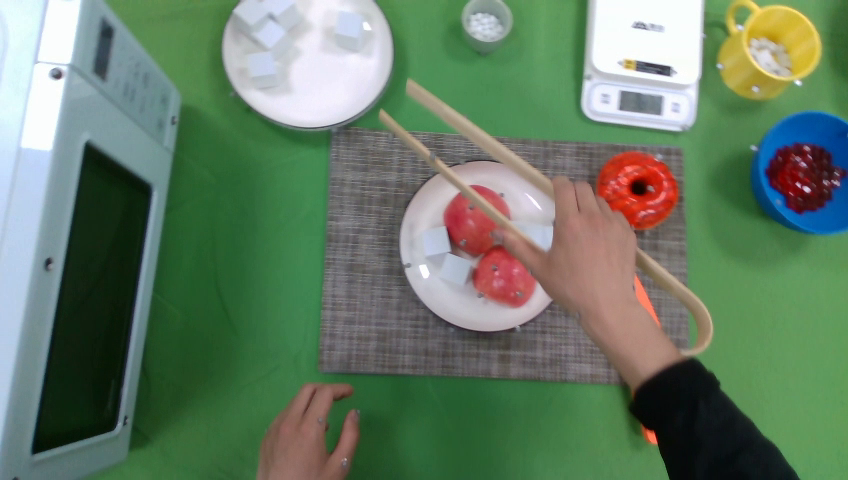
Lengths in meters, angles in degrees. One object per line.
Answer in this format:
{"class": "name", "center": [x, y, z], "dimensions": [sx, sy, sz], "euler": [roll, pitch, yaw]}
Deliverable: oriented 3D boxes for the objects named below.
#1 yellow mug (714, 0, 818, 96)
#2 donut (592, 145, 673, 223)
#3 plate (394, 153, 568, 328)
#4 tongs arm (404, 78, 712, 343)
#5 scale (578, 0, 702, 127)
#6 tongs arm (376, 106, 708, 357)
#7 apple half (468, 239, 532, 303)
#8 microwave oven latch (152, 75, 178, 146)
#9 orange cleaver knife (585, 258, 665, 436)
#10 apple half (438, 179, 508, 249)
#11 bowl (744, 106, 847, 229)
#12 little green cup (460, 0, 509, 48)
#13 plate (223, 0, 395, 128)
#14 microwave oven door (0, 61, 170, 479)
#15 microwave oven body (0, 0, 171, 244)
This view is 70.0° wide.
{"class": "yellow mug", "center": [0.431, -0.259, 0.783], "dimensions": [0.100, 0.064, 0.130], "euler": [-30, 83, -7]}
{"class": "donut", "center": [0.256, -0.069, 0.750], "dimensions": [0.099, 0.048, 0.098], "euler": [0, 81, -2]}
{"class": "plate", "center": [0.067, 0.002, 0.730], "dimensions": [0.209, 0.038, 0.208], "euler": [1, 81, -4]}
{"class": "tongs arm", "center": [0.126, -0.035, 0.598], "dimensions": [0.386, 0.028, 0.028], "euler": [40, 70, 6]}
{"class": "scale", "center": [0.282, -0.252, 0.789], "dimensions": [0.149, 0.031, 0.200], "euler": [7, 82, -2]}
{"class": "tongs arm", "center": [0.108, -0.015, 0.590], "dimensions": [0.383, 0.026, 0.050], "euler": [43, 74, 7]}
{"class": "apple half", "center": [0.093, 0.034, 0.720], "dimensions": [0.081, 0.033, 0.081], "euler": [0, 83, 1]}
{"class": "microwave oven latch", "center": [-0.310, -0.153, 0.712], "dimensions": [0.030, 0.029, 0.079], "euler": [7, 82, -3]}
{"class": "orange cleaver knife", "center": [0.255, 0.126, 0.733], "dimensions": [0.077, 0.012, 0.210], "euler": [-15, 82, -11]}
{"class": "apple half", "center": [0.059, -0.035, 0.719], "dimensions": [0.081, 0.053, 0.074], "euler": [-42, 83, -9]}
{"class": "bowl", "center": [0.460, -0.082, 0.753], "dimensions": [0.151, 0.077, 0.151], "euler": [1, 82, -3]}
{"class": "little green cup", "center": [0.076, -0.278, 0.776], "dimensions": [0.061, 0.039, 0.061], "euler": [1, 81, -3]}
{"class": "plate", "center": [-0.141, -0.236, 0.755], "dimensions": [0.208, 0.039, 0.207], "euler": [1, 81, -4]}
{"class": "microwave oven door", "center": [-0.326, 0.046, 0.579], "dimensions": [0.039, 0.244, 0.354], "euler": [5, 81, -2]}
{"class": "microwave oven body", "center": [-0.468, -0.009, 0.583], "dimensions": [0.326, 0.260, 0.440], "euler": [5, 82, -3]}
